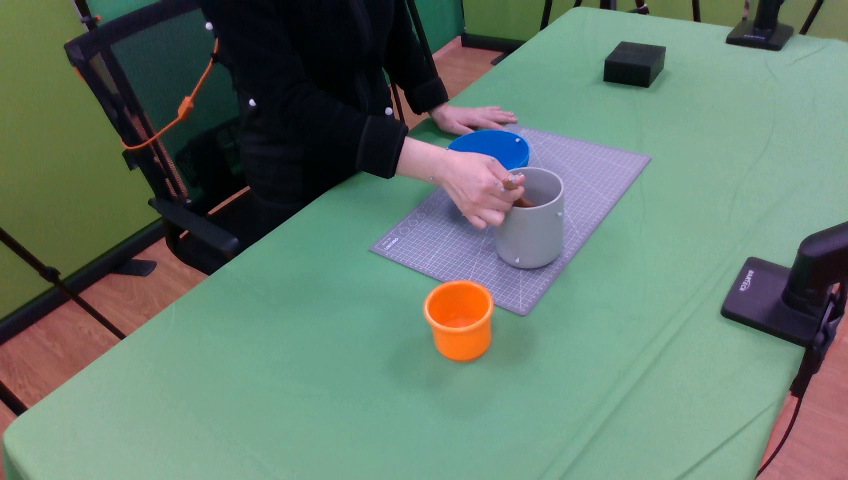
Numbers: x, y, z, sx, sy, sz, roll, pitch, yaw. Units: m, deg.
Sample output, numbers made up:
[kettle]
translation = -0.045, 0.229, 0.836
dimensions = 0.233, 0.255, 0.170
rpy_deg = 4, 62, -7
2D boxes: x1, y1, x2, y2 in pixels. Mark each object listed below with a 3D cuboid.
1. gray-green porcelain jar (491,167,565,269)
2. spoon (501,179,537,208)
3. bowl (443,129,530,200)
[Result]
[gray-green porcelain jar]
translation = 0.157, -0.029, 0.904
dimensions = 0.106, 0.127, 0.105
rpy_deg = -6, 40, 5
[spoon]
translation = 0.128, -0.063, 0.848
dimensions = 0.041, 0.195, 0.021
rpy_deg = 0, 80, 18
[bowl]
translation = 0.113, -0.123, 1.063
dimensions = 0.151, 0.077, 0.150
rpy_deg = -6, 40, 5
